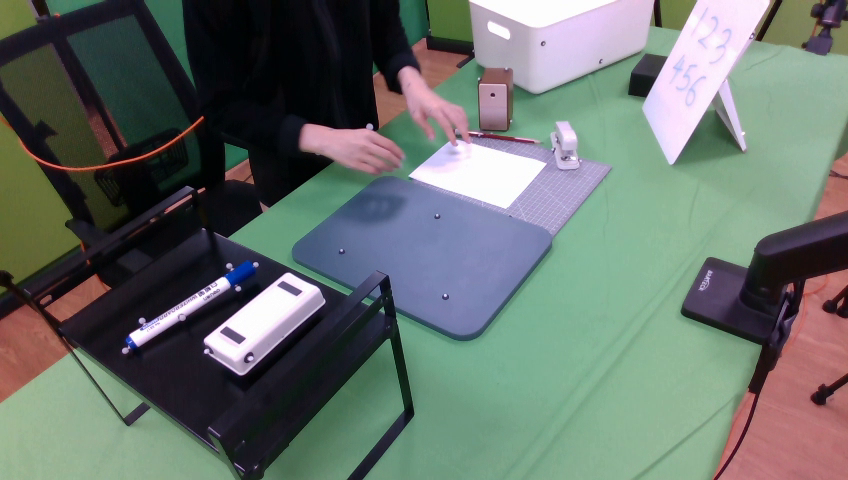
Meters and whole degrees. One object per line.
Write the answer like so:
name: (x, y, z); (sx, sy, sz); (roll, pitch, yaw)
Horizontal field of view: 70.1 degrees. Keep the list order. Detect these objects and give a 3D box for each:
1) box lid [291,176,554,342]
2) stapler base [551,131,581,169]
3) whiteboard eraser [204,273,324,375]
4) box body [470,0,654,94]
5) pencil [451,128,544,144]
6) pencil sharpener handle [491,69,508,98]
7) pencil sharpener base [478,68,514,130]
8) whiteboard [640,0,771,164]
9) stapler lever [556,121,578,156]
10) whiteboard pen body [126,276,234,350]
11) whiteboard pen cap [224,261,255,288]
box lid: (-0.005, 0.011, 0.972); (0.368, 0.015, 0.264); (21, 49, 30)
stapler base: (0.268, -0.178, 1.142); (0.041, 0.024, 0.130); (0, 37, 3)
whiteboard eraser: (-0.157, 0.084, 0.605); (0.055, 0.042, 0.113); (24, 49, 30)
box body: (0.319, -0.498, 1.405); (0.365, 0.161, 0.252); (-26, 43, -21)
pencil: (0.145, -0.206, 1.204); (0.193, 0.012, 0.012); (12, 44, 20)
pencil sharpener handle: (0.155, -0.329, 1.254); (0.036, 0.068, 0.030); (17, 43, 4)
pencil sharpener base: (0.148, -0.286, 1.225); (0.061, 0.107, 0.076); (5, 41, 15)
whiteboard: (0.543, -0.299, 1.076); (0.144, 0.305, 0.216); (12, 40, -7)
stapler lever: (0.266, -0.198, 1.128); (0.027, 0.040, 0.117); (0, 38, 3)
whiteboard pen body: (-0.251, 0.070, 0.649); (0.141, 0.017, 0.017); (-36, 48, -26)
whiteboard pen cap: (-0.207, 0.039, 0.677); (0.033, 0.018, 0.018); (-36, 47, -18)
